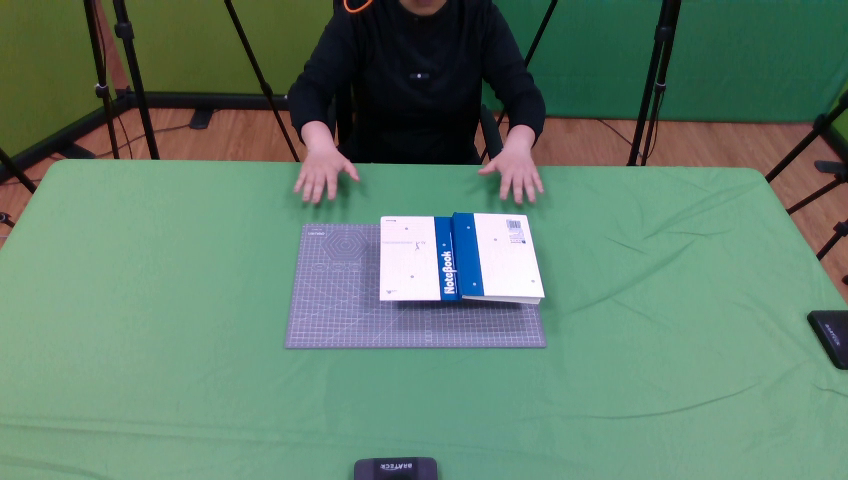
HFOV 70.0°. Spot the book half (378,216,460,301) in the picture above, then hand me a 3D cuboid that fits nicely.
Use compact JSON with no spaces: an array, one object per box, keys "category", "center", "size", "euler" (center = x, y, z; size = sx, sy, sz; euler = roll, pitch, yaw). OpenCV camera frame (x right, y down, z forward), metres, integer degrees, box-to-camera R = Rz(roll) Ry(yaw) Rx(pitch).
[{"category":"book half","center":[-0.011,0.029,1.110],"size":[0.143,0.007,0.208],"euler":[0,46,-4]}]

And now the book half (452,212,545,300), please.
[{"category":"book half","center":[0.132,0.026,1.116],"size":[0.149,0.016,0.209],"euler":[2,45,-5]}]
